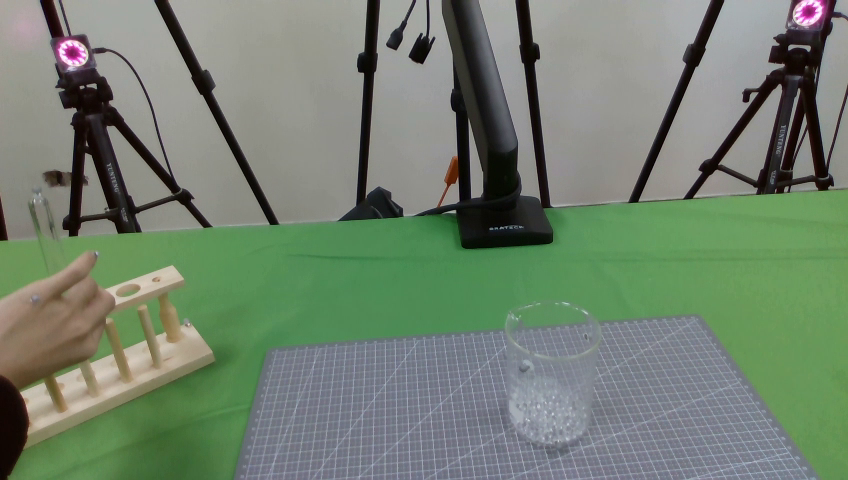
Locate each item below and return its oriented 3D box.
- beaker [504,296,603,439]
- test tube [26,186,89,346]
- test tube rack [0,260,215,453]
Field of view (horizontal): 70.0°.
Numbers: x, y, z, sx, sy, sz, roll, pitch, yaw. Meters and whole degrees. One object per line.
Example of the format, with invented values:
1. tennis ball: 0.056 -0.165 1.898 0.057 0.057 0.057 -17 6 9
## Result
1. beaker: 0.100 0.106 0.499 0.074 0.101 0.083 -27 37 -34
2. test tube: -0.299 0.025 0.497 0.017 0.151 0.017 4 30 -2
3. test tube rack: -0.328 0.109 0.550 0.243 0.086 0.066 -23 37 -31
